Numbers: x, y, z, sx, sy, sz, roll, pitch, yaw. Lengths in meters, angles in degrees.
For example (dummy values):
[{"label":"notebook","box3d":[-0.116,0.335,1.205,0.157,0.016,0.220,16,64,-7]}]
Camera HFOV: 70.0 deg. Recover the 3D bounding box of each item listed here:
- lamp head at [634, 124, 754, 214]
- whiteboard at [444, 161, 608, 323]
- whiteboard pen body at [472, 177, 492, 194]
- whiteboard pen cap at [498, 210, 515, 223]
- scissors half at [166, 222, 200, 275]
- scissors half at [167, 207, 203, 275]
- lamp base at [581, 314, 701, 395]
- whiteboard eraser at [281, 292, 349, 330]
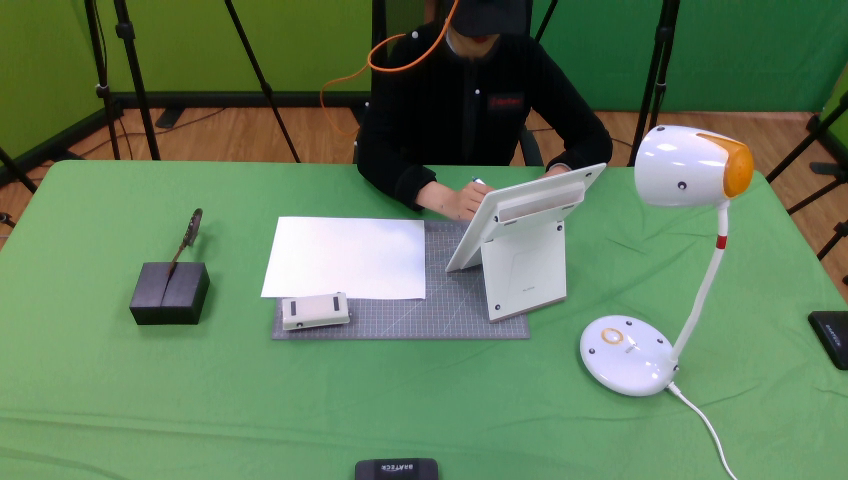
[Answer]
[{"label":"lamp head","box3d":[0.351,-0.089,0.776,0.112,0.113,0.122,-30,30,-28]},{"label":"whiteboard","box3d":[0.186,0.025,1.029,0.217,0.306,0.143,-14,68,-18]},{"label":"whiteboard pen body","box3d":[0.138,-0.072,1.117,0.017,0.017,0.140,-27,56,-26]},{"label":"whiteboard pen cap","box3d":[0.169,-0.048,1.246,0.033,0.018,0.018,24,48,2]},{"label":"scissors half","box3d":[-0.444,0.015,1.116,0.013,0.040,0.174,17,27,-11]},{"label":"scissors half","box3d":[-0.436,0.000,1.104,0.013,0.040,0.174,21,44,-14]},{"label":"lamp base","box3d":[0.361,0.145,0.972,0.178,0.181,0.160,34,53,23]},{"label":"whiteboard eraser","box3d":[-0.189,0.124,1.045,0.113,0.042,0.055,-6,46,-10]}]
